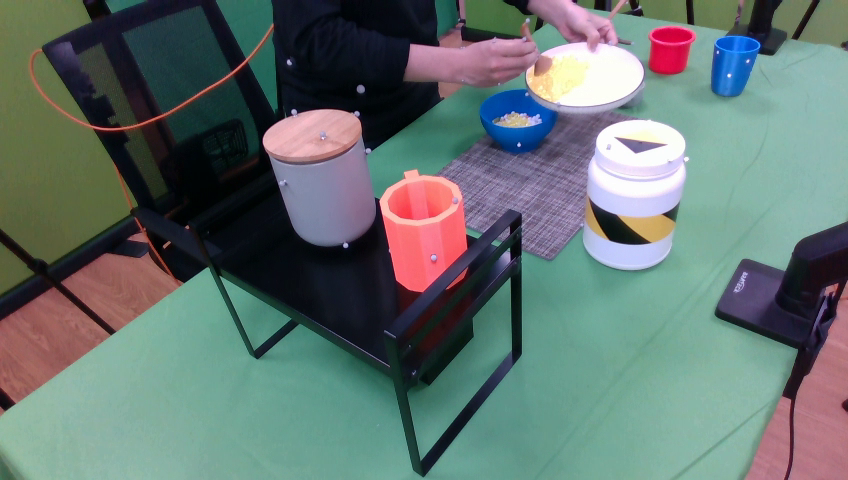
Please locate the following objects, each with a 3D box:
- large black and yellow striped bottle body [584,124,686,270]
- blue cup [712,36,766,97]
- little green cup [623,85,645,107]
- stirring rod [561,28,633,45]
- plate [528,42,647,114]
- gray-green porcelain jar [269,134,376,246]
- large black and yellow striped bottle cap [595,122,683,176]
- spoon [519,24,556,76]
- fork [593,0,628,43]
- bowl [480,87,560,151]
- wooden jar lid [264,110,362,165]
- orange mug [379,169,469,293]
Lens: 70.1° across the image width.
[{"bbox_3d":[0.304,-0.063,0.880,0.131,0.185,0.130,-5,41,5],"label":"large black and yellow striped bottle body"},{"bbox_3d":[0.627,-0.350,1.227,0.092,0.100,0.092,-4,39,4],"label":"blue cup"},{"bbox_3d":[0.426,-0.306,1.257,0.061,0.039,0.061,-4,40,4],"label":"little green cup"},{"bbox_3d":[0.382,-0.453,1.345,0.174,0.006,0.014,27,52,34],"label":"stirring rod"},{"bbox_3d":[0.293,-0.288,1.092,0.209,0.038,0.208,-5,46,6],"label":"plate"},{"bbox_3d":[-0.115,-0.064,0.715,0.106,0.127,0.105,-4,40,4],"label":"gray-green porcelain jar"},{"bbox_3d":[0.293,-0.126,0.826,0.115,0.019,0.114,-3,40,3],"label":"large black and yellow striped bottle cap"},{"bbox_3d":[0.183,-0.313,0.999,0.041,0.195,0.021,-37,69,17],"label":"spoon"},{"bbox_3d":[0.413,-0.481,1.377,0.207,0.019,0.028,-56,43,12],"label":"fork"},{"bbox_3d":[0.185,-0.223,1.160,0.151,0.077,0.150,-6,40,5],"label":"bowl"},{"bbox_3d":[-0.122,-0.112,0.673,0.108,0.021,0.108,-4,37,4],"label":"wooden jar lid"},{"bbox_3d":[-0.002,-0.019,0.665,0.083,0.101,0.125,-12,45,-4],"label":"orange mug"}]
